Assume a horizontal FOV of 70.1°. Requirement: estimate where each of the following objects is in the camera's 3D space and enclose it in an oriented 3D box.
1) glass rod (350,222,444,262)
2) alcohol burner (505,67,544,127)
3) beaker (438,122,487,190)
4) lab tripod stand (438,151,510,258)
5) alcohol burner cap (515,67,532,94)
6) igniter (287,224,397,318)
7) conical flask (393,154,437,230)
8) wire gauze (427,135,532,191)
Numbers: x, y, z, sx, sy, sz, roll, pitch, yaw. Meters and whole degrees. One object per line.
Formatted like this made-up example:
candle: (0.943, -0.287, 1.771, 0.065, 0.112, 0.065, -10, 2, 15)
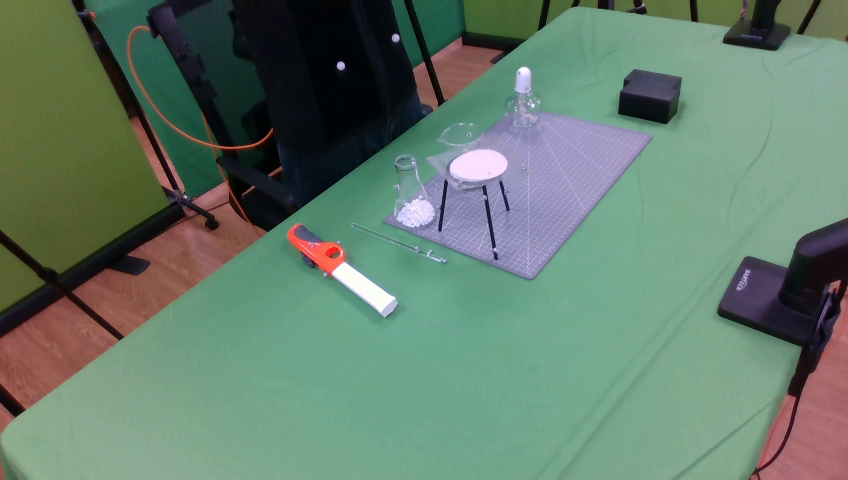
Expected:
glass rod: (-0.048, 0.001, 1.003, 0.198, 0.008, 0.008, 21, 49, 31)
alcohol burner: (0.201, -0.288, 1.211, 0.078, 0.119, 0.077, -6, 38, 5)
beaker: (0.072, -0.147, 1.080, 0.084, 0.101, 0.073, -5, 40, 7)
lab tripod stand: (0.087, -0.064, 0.952, 0.148, 0.132, 0.147, -6, 38, 5)
alcohol burner cap: (0.197, -0.315, 1.187, 0.034, 0.048, 0.033, -3, 47, 3)
igniter: (-0.139, 0.042, 0.958, 0.057, 0.025, 0.274, -41, 49, -19)
conical flask: (-0.022, -0.082, 1.003, 0.075, 0.122, 0.075, -6, 40, 5)
wire gauze: (0.081, -0.115, 0.909, 0.125, 0.011, 0.120, -18, 39, -11)
